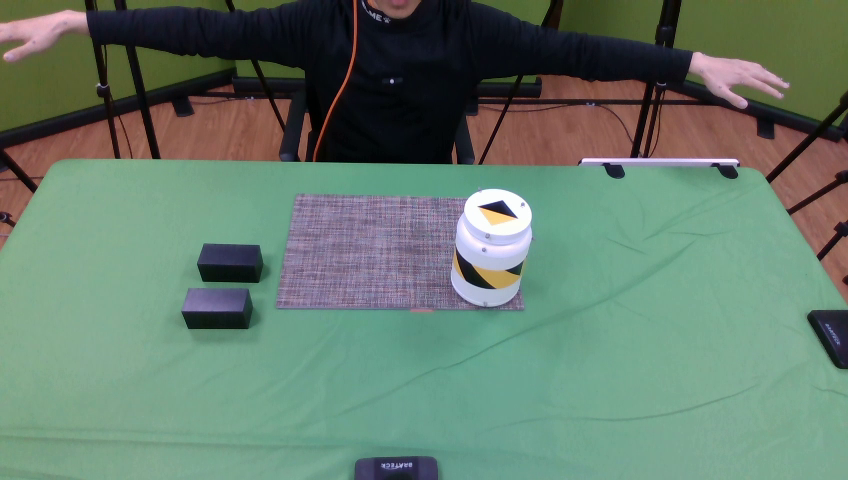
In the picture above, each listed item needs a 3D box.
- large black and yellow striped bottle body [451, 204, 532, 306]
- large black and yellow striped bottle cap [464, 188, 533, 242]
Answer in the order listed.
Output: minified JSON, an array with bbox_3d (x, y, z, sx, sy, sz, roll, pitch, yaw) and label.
[{"bbox_3d":[0.119,0.014,1.074,0.131,0.185,0.130,2,46,-2],"label":"large black and yellow striped bottle body"},{"bbox_3d":[0.124,-0.044,1.014,0.115,0.019,0.114,2,47,-1],"label":"large black and yellow striped bottle cap"}]
